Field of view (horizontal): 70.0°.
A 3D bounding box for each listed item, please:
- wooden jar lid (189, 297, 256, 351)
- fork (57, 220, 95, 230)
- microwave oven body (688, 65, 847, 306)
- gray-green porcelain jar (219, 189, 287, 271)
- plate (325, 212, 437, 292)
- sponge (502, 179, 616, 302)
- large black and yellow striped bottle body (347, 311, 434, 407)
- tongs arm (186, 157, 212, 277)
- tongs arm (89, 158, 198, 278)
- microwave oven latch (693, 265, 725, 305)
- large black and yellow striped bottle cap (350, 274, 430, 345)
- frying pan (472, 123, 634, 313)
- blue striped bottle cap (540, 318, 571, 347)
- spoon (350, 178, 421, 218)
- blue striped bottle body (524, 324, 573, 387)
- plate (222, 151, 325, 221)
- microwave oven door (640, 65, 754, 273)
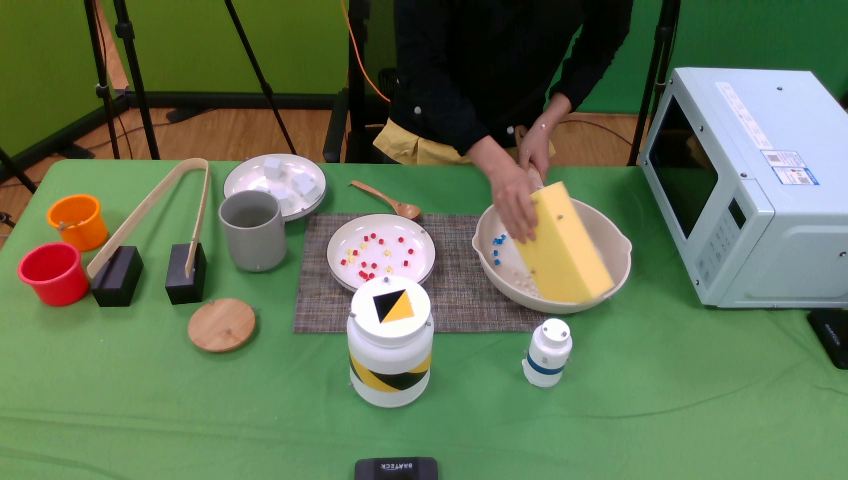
[{"bbox_3d":[-0.342,0.145,1.033,0.108,0.021,0.107,2,45,-2],"label":"wooden jar lid"},{"bbox_3d":[-0.624,-0.027,1.087,0.028,0.207,0.018,-3,92,-17],"label":"fork"},{"bbox_3d":[0.669,-0.111,1.176,0.326,0.261,0.439,0,46,-3],"label":"microwave oven body"},{"bbox_3d":[-0.310,-0.014,1.113,0.106,0.127,0.105,2,46,-2],"label":"gray-green porcelain jar"},{"bbox_3d":[-0.080,0.030,1.143,0.209,0.038,0.208,2,46,-2],"label":"plate"},{"bbox_3d":[0.236,0.012,1.070,0.061,0.118,0.206,-22,84,-33],"label":"sponge"},{"bbox_3d":[-0.052,0.157,0.929,0.131,0.185,0.130,2,47,-2],"label":"large black and yellow striped bottle body"},{"bbox_3d":[-0.445,-0.058,1.168,0.051,0.026,0.382,-5,37,-6],"label":"tongs arm"},{"bbox_3d":[-0.529,-0.057,1.164,0.028,0.028,0.385,1,36,8],"label":"tongs arm"},{"bbox_3d":[0.523,0.082,1.116,0.030,0.029,0.078,2,46,-1],"label":"microwave oven latch"},{"bbox_3d":[-0.048,0.097,0.867,0.115,0.019,0.114,3,48,-3],"label":"large black and yellow striped bottle cap"},{"bbox_3d":[0.235,-0.060,1.207,0.307,0.103,0.484,1,55,-6],"label":"frying pan"},{"bbox_3d":[0.203,0.142,0.933,0.044,0.021,0.044,3,49,-3],"label":"blue striped bottle cap"},{"bbox_3d":[-0.084,-0.092,1.272,0.193,0.022,0.041,31,68,25],"label":"spoon"},{"bbox_3d":[0.200,0.178,0.970,0.063,0.121,0.062,2,46,-1],"label":"blue striped bottle body"},{"bbox_3d":[-0.310,-0.106,1.263,0.208,0.039,0.206,2,47,-2],"label":"plate"},{"bbox_3d":[0.523,-0.147,1.193,0.039,0.245,0.353,0,47,-3],"label":"microwave oven door"}]
